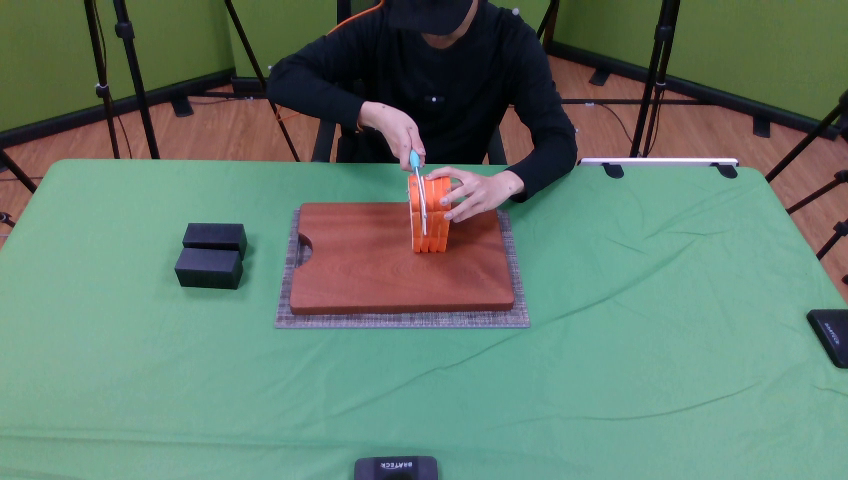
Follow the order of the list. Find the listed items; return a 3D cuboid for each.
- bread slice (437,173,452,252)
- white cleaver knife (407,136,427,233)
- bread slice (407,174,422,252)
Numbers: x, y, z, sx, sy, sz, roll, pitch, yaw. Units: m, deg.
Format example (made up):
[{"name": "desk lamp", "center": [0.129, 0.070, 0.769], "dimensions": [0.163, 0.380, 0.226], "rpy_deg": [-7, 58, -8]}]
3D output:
[{"name": "bread slice", "center": [0.038, -0.056, 1.137], "dimensions": [0.018, 0.135, 0.106], "rpy_deg": [-1, 48, -3]}, {"name": "white cleaver knife", "center": [-0.014, -0.112, 1.155], "dimensions": [0.021, 0.066, 0.284], "rpy_deg": [-4, 38, -3]}, {"name": "bread slice", "center": [-0.018, -0.058, 1.135], "dimensions": [0.019, 0.132, 0.104], "rpy_deg": [-5, 44, -2]}]
